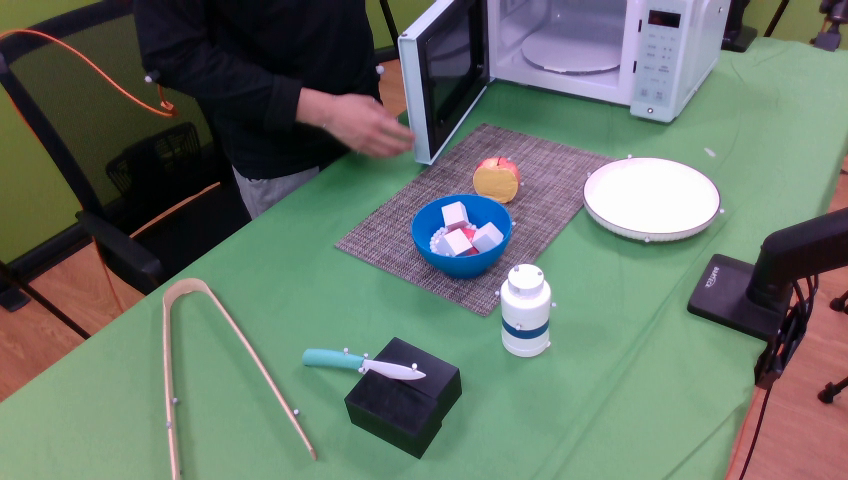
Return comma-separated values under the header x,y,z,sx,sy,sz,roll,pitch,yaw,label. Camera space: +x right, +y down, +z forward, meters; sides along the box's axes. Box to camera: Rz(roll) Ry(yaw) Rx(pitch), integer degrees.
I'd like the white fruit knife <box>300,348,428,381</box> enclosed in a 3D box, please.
x,y,z,sx,sy,sz,roll,pitch,yaw,label
-0.079,0.154,0.748,0.206,0.027,0.016,1,21,34,white fruit knife

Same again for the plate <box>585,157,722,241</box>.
x,y,z,sx,sy,sz,roll,pitch,yaw,label
0.367,-0.063,0.979,0.207,0.039,0.206,-4,40,4,plate

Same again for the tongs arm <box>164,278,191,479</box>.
x,y,z,sx,sy,sz,roll,pitch,yaw,label
-0.313,0.182,0.789,0.051,0.026,0.381,-19,41,-14,tongs arm

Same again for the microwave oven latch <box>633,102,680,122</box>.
x,y,z,sx,sy,sz,roll,pitch,yaw,label
0.444,-0.249,1.157,0.078,0.029,0.030,21,49,30,microwave oven latch

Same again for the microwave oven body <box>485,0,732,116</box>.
x,y,z,sx,sy,sz,roll,pitch,yaw,label
0.377,-0.462,1.267,0.438,0.261,0.327,21,48,30,microwave oven body

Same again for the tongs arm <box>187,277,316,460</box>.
x,y,z,sx,sy,sz,roll,pitch,yaw,label
-0.241,0.154,0.815,0.028,0.028,0.384,-31,46,-21,tongs arm

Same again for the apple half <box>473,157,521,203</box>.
x,y,z,sx,sy,sz,roll,pitch,yaw,label
0.127,-0.106,1.030,0.080,0.075,0.053,4,36,19,apple half

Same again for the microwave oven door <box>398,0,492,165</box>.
x,y,z,sx,sy,sz,roll,pitch,yaw,label
0.053,-0.344,1.167,0.039,0.245,0.356,11,44,21,microwave oven door

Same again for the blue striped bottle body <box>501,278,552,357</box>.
x,y,z,sx,sy,sz,roll,pitch,yaw,label
0.130,0.088,0.769,0.063,0.121,0.063,-4,41,4,blue striped bottle body

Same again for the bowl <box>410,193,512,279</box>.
x,y,z,sx,sy,sz,roll,pitch,yaw,label
0.058,0.005,0.905,0.151,0.077,0.150,-4,40,4,bowl

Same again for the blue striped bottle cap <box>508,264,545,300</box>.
x,y,z,sx,sy,sz,roll,pitch,yaw,label
0.125,0.050,0.735,0.044,0.021,0.044,-5,39,5,blue striped bottle cap

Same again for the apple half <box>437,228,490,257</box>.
x,y,z,sx,sy,sz,roll,pitch,yaw,label
0.056,0.002,0.902,0.081,0.033,0.081,-3,40,3,apple half
